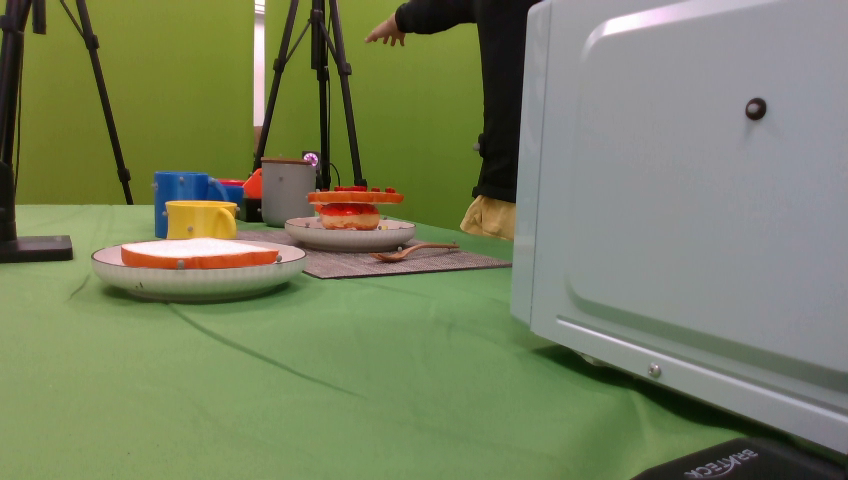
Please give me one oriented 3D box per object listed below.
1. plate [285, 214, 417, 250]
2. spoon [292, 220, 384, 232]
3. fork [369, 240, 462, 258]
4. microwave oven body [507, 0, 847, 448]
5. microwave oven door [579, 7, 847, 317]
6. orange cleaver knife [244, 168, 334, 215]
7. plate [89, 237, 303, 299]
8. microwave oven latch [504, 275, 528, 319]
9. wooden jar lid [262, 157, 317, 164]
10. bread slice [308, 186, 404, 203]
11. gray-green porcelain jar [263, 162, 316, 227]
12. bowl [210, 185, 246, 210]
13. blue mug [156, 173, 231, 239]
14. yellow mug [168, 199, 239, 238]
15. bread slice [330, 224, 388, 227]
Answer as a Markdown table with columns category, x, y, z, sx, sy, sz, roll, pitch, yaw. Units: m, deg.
| category | x | y | z | sx | sy | sz | roll | pitch | yaw |
| --- | --- | --- | --- | --- | --- | --- | --- | --- | --- |
| plate | -0.116 | -0.014 | 0.964 | 0.209 | 0.038 | 0.209 | 2 | 8 | 0 |
| spoon | -0.153 | -0.028 | 1.123 | 0.195 | 0.021 | 0.041 | -5 | -12 | -39 |
| fork | -0.005 | 0.011 | 0.874 | 0.028 | 0.018 | 0.208 | 0 | 7 | 37 |
| microwave oven body | 0.331 | -0.042 | 0.425 | 0.444 | 0.260 | 0.324 | -2 | 8 | -31 |
| microwave oven door | 0.294 | -0.067 | 0.570 | 0.358 | 0.243 | 0.039 | -3 | 9 | -31 |
| orange cleaver knife | -0.300 | -0.089 | 1.352 | 0.212 | 0.077 | 0.012 | 28 | -6 | -34 |
| plate | -0.233 | 0.029 | 0.636 | 0.208 | 0.039 | 0.207 | 2 | 7 | 0 |
| microwave oven latch | 0.100 | 0.041 | 0.471 | 0.079 | 0.029 | 0.030 | -1 | 7 | -28 |
| wooden jar lid | -0.269 | -0.154 | 1.208 | 0.108 | 0.020 | 0.108 | 3 | 4 | 0 |
| bread slice | -0.114 | -0.071 | 0.952 | 0.134 | 0.018 | 0.107 | -2 | 0 | 21 |
| gray-green porcelain jar | -0.271 | -0.092 | 1.217 | 0.106 | 0.126 | 0.106 | 2 | 7 | 0 |
| bowl | -0.422 | -0.067 | 1.166 | 0.151 | 0.077 | 0.151 | 2 | 7 | 0 |
| blue mug | -0.381 | -0.057 | 1.004 | 0.117 | 0.106 | 0.082 | 0 | 8 | -12 |
| yellow mug | -0.319 | -0.023 | 0.904 | 0.130 | 0.064 | 0.100 | 9 | 11 | 36 |
| bread slice | -0.103 | -0.010 | 0.961 | 0.131 | 0.019 | 0.105 | 4 | 9 | 24 |
